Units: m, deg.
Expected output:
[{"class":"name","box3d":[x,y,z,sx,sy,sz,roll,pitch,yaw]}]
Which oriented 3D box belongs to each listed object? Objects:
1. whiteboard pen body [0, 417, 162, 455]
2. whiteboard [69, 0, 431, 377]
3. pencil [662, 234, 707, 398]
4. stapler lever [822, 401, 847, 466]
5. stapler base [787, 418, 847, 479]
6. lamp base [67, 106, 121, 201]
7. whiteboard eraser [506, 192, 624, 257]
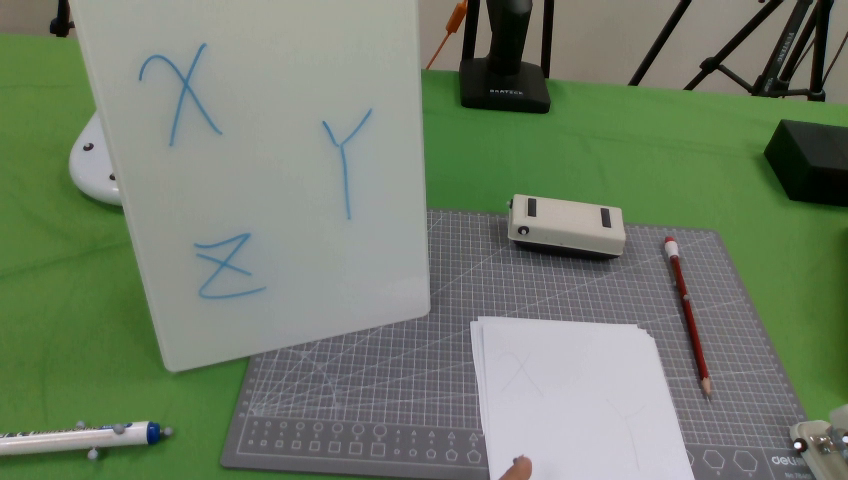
[{"class":"whiteboard pen body","box3d":[-0.255,0.136,0.415,0.141,0.017,0.017,-3,43,-9]},{"class":"whiteboard","box3d":[-0.123,-0.078,0.491,0.218,0.307,0.142,-10,26,-16]},{"class":"pencil","box3d":[0.240,0.062,0.561,0.012,0.012,0.192,8,44,2]},{"class":"stapler lever","box3d":[0.317,0.165,0.413,0.027,0.040,0.117,-4,47,-10]},{"class":"stapler base","box3d":[0.314,0.182,0.432,0.041,0.024,0.129,-3,46,-10]},{"class":"lamp base","box3d":[-0.295,-0.156,0.602,0.177,0.182,0.160,33,49,29]},{"class":"whiteboard eraser","box3d":[0.139,-0.015,0.605,0.112,0.042,0.055,9,44,2]}]
